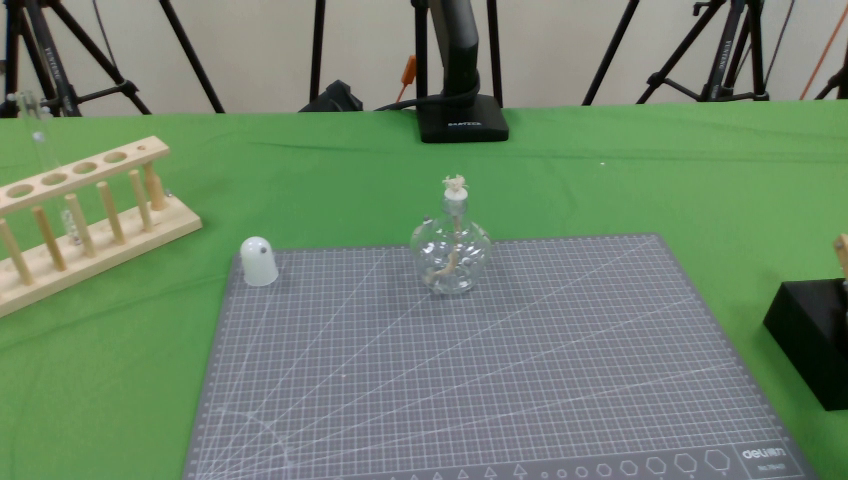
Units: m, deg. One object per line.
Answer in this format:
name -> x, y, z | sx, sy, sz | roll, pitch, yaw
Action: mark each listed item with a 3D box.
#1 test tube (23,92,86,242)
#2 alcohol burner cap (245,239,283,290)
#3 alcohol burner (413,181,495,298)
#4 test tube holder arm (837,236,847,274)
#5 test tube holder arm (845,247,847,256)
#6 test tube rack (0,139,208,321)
test tube -> -0.341, -0.063, 0.566 | 0.017, 0.151, 0.017 | 1, 32, 0
alcohol burner cap -> -0.154, 0.020, 0.577 | 0.034, 0.048, 0.033 | 2, 39, -1
alcohol burner -> 0.029, -0.005, 0.558 | 0.078, 0.120, 0.077 | 2, 40, -1
test tube holder arm -> 0.370, 0.027, 0.517 | 0.010, 0.015, 0.087 | 22, 40, 5
test tube holder arm -> 0.361, 0.055, 0.482 | 0.013, 0.015, 0.177 | 22, 40, 5
test tube rack -> -0.341, -0.009, 0.576 | 0.242, 0.086, 0.066 | -30, 48, -34
